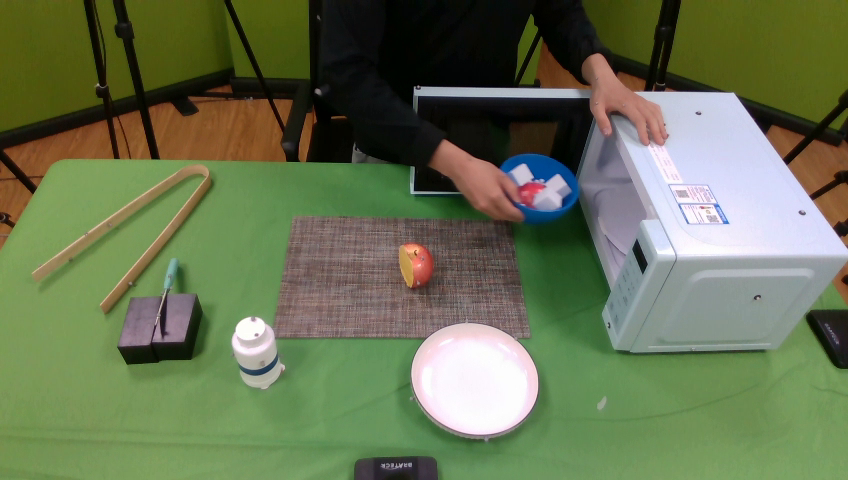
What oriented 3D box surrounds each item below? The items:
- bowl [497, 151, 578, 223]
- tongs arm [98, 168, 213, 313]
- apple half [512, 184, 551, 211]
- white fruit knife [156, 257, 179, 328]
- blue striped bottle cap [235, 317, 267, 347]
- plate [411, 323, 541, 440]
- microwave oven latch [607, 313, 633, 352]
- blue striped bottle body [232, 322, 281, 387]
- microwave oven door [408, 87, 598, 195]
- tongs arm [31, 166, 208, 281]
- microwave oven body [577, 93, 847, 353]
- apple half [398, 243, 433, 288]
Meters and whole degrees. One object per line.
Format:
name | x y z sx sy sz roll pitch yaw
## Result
bowl | 0.203 -0.085 1.133 0.151 0.077 0.150 5 53 -6
tongs arm | -0.503 -0.012 1.167 0.028 0.028 0.385 11 45 11
apple half | 0.202 -0.084 1.129 0.081 0.033 0.081 4 46 -4
white fruit knife | -0.440 0.085 1.037 0.016 0.027 0.206 10 26 -19
blue striped bottle cap | -0.260 0.137 0.907 0.044 0.021 0.044 3 43 -2
plate | 0.082 0.228 0.976 0.208 0.039 0.206 2 45 -2
microwave oven latch | 0.336 0.154 1.043 0.030 0.029 0.078 5 45 1
blue striped bottle body | -0.262 0.172 0.944 0.063 0.121 0.062 2 46 -2
microwave oven door | 0.149 -0.194 1.226 0.356 0.245 0.039 0 45 -4
tongs arm | -0.578 -0.040 1.185 0.050 0.026 0.384 23 47 17
microwave oven body | 0.475 -0.041 1.109 0.326 0.261 0.438 -1 45 -4
apple half | -0.012 0.046 1.115 0.053 0.075 0.080 -11 43 -19
